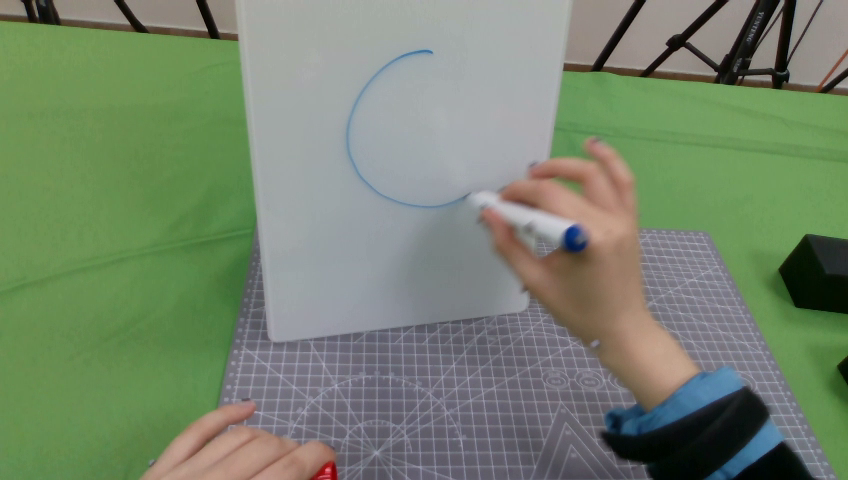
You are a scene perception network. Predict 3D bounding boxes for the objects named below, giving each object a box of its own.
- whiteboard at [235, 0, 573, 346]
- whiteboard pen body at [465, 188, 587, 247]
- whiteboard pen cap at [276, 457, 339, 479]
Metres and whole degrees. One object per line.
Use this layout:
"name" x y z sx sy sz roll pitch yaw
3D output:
"whiteboard" -0.025 -0.095 0.478 0.218 0.307 0.142 -5 28 -14
"whiteboard pen body" 0.057 -0.019 0.388 0.017 0.017 0.139 -12 18 -20
"whiteboard pen cap" -0.064 0.129 0.333 0.032 0.017 0.017 0 46 3
